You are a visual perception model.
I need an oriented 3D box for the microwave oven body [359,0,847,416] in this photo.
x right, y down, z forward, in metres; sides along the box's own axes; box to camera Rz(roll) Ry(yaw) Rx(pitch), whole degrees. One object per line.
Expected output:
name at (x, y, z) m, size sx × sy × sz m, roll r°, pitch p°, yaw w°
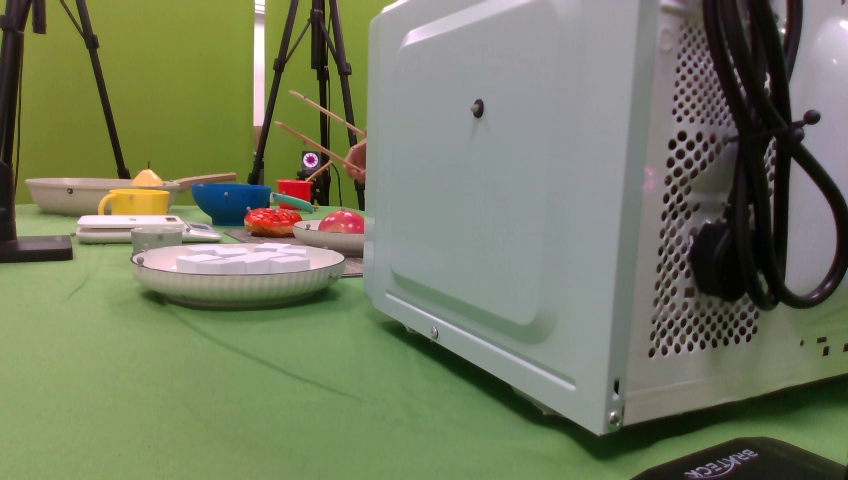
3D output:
microwave oven body at (0.211, -0.047, 0.474) m, size 0.444 × 0.260 × 0.324 m, roll -1°, pitch 7°, yaw -28°

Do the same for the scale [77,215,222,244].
scale at (-0.434, -0.019, 0.963) m, size 0.202 × 0.031 × 0.148 m, roll -1°, pitch 9°, yaw -27°

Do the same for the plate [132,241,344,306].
plate at (-0.187, 0.033, 0.625) m, size 0.208 × 0.039 × 0.207 m, roll 2°, pitch 8°, yaw 0°

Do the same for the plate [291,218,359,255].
plate at (-0.098, -0.007, 0.928) m, size 0.209 × 0.038 × 0.209 m, roll 2°, pitch 8°, yaw 0°

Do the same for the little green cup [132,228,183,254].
little green cup at (-0.342, 0.006, 0.779) m, size 0.061 × 0.038 × 0.061 m, roll 2°, pitch 8°, yaw 0°

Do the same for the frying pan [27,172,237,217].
frying pan at (-0.624, -0.118, 1.387) m, size 0.305 × 0.102 × 0.490 m, roll 8°, pitch 17°, yaw 32°

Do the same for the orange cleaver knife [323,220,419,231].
orange cleaver knife at (-0.097, -0.027, 1.152) m, size 0.077 × 0.012 × 0.212 m, roll 2°, pitch 7°, yaw 41°

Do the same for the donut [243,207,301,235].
donut at (-0.261, -0.032, 1.043) m, size 0.099 × 0.048 × 0.099 m, roll 4°, pitch 9°, yaw 0°

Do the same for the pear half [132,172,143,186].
pear half at (-0.638, -0.113, 1.361) m, size 0.031 × 0.088 × 0.070 m, roll 5°, pitch 10°, yaw 4°

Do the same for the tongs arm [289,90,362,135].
tongs arm at (-0.126, -0.193, 1.205) m, size 0.026 × 0.050 × 0.387 m, roll 22°, pitch 0°, yaw 39°

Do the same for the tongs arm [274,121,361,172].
tongs arm at (-0.141, -0.160, 1.204) m, size 0.027 × 0.028 × 0.390 m, roll 17°, pitch -3°, yaw 39°

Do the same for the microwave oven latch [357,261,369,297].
microwave oven latch at (-0.019, 0.033, 0.531) m, size 0.079 × 0.029 × 0.030 m, roll -1°, pitch 7°, yaw -27°

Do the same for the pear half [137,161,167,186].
pear half at (-0.602, -0.120, 1.354) m, size 0.056 × 0.110 × 0.076 m, roll 4°, pitch 11°, yaw 6°

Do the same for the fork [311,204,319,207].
fork at (-0.356, -0.105, 1.526) m, size 0.208 × 0.018 × 0.028 m, roll 16°, pitch -6°, yaw -41°

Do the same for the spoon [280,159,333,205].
spoon at (-0.316, -0.159, 1.640) m, size 0.194 × 0.022 × 0.041 m, roll -50°, pitch 32°, yaw -20°

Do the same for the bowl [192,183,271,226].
bowl at (-0.382, -0.071, 1.202) m, size 0.151 × 0.077 × 0.151 m, roll 3°, pitch 7°, yaw 0°

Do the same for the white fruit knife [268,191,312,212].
white fruit knife at (-0.364, -0.105, 1.464) m, size 0.208 × 0.027 × 0.016 m, roll 15°, pitch 0°, yaw -34°

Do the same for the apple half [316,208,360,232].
apple half at (-0.122, -0.020, 0.901) m, size 0.080 × 0.053 × 0.075 m, roll 4°, pitch 11°, yaw 20°

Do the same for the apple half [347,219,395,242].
apple half at (-0.084, -0.018, 0.967) m, size 0.081 × 0.033 × 0.081 m, roll 5°, pitch 9°, yaw -1°

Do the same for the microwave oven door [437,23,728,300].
microwave oven door at (0.180, -0.072, 0.621) m, size 0.358 × 0.243 × 0.039 m, roll -2°, pitch 8°, yaw -29°

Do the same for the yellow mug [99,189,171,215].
yellow mug at (-0.518, -0.055, 1.080) m, size 0.099 × 0.064 × 0.131 m, roll 6°, pitch 9°, yaw 26°
